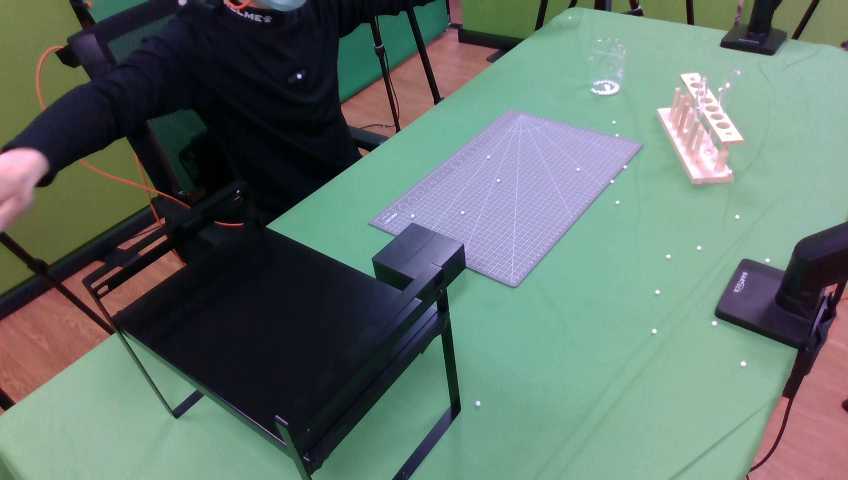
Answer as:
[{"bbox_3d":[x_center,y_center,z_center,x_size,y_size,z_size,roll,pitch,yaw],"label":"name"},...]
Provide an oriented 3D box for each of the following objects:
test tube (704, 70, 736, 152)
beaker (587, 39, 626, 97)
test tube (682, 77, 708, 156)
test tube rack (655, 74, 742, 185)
[{"bbox_3d":[0.501,-0.216,1.028,0.017,0.151,0.017,-2,40,2],"label":"test tube"},{"bbox_3d":[0.386,-0.361,1.280,0.074,0.101,0.083,-22,43,-15],"label":"beaker"},{"bbox_3d":[0.463,-0.209,1.032,0.017,0.151,0.017,-4,43,4],"label":"test tube"},{"bbox_3d":[0.488,-0.205,1.093,0.067,0.085,0.241,-3,40,5],"label":"test tube rack"}]
